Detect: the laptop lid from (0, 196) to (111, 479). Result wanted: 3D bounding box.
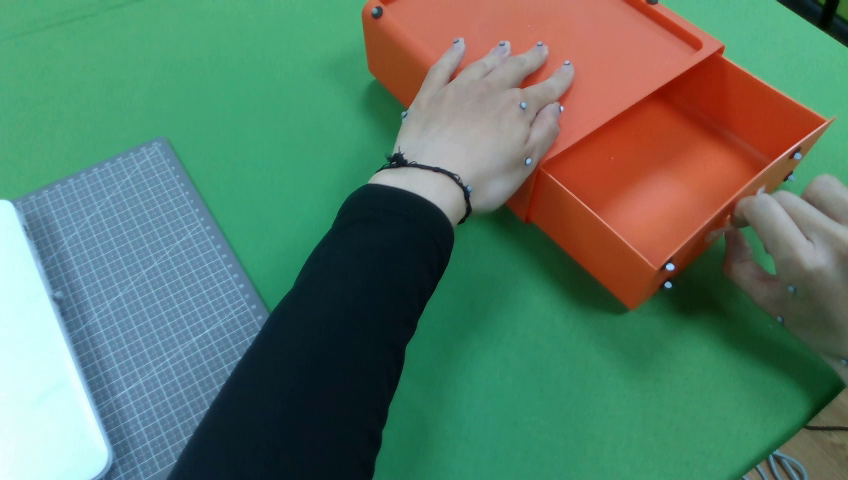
[{"bbox_3d":[-0.390,0.128,0.349,0.357,0.013,0.239,-27,64,-16],"label":"laptop lid"}]

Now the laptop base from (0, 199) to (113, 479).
[{"bbox_3d":[-0.391,0.133,0.360,0.354,0.023,0.233,-29,66,-17],"label":"laptop base"}]

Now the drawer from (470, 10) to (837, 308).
[{"bbox_3d":[0.154,-0.084,0.463,0.194,0.074,0.210,-35,64,-19],"label":"drawer"}]

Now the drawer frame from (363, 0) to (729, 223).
[{"bbox_3d":[0.092,-0.147,0.502,0.201,0.083,0.211,-34,63,-19],"label":"drawer frame"}]
